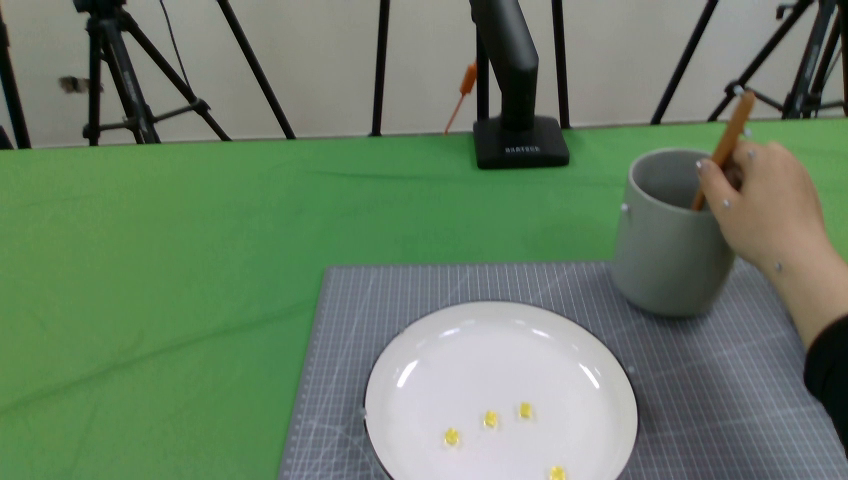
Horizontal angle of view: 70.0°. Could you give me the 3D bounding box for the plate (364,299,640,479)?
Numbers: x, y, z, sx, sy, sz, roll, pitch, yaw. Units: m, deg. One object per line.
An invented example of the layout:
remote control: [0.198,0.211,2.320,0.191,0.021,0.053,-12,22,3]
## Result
plate: [0.058,0.130,0.474,0.207,0.039,0.205,-2,38,2]

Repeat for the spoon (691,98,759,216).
spoon: [0.238,-0.029,0.513,0.022,0.195,0.041,-9,43,-15]

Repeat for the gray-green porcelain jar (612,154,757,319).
gray-green porcelain jar: [0.232,0.001,0.558,0.106,0.127,0.105,-2,38,2]
